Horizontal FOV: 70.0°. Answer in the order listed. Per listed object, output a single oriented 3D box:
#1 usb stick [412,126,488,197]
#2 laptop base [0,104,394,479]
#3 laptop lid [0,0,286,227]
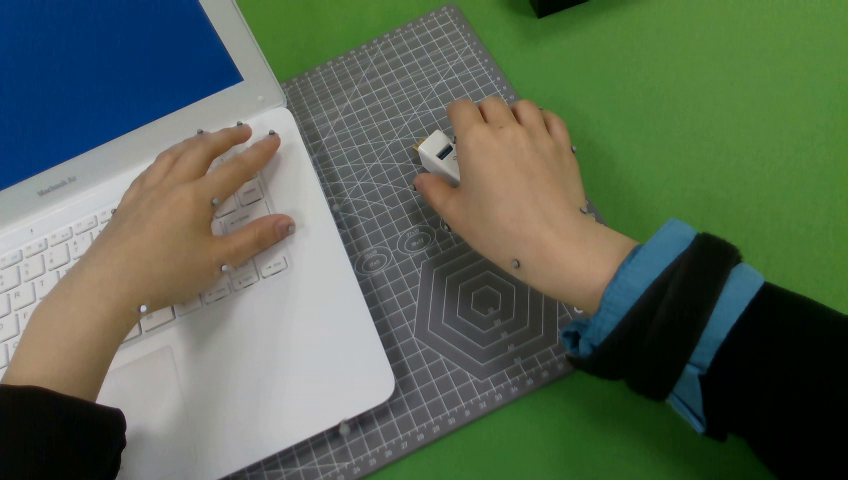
[{"bbox_3d":[0.014,-0.056,0.406,0.021,0.027,0.058,-45,62,-11],"label":"usb stick"},{"bbox_3d":[-0.216,0.066,0.402,0.354,0.023,0.233,-25,66,-1],"label":"laptop base"},{"bbox_3d":[-0.297,-0.114,0.380,0.357,0.244,0.013,-26,38,0],"label":"laptop lid"}]
